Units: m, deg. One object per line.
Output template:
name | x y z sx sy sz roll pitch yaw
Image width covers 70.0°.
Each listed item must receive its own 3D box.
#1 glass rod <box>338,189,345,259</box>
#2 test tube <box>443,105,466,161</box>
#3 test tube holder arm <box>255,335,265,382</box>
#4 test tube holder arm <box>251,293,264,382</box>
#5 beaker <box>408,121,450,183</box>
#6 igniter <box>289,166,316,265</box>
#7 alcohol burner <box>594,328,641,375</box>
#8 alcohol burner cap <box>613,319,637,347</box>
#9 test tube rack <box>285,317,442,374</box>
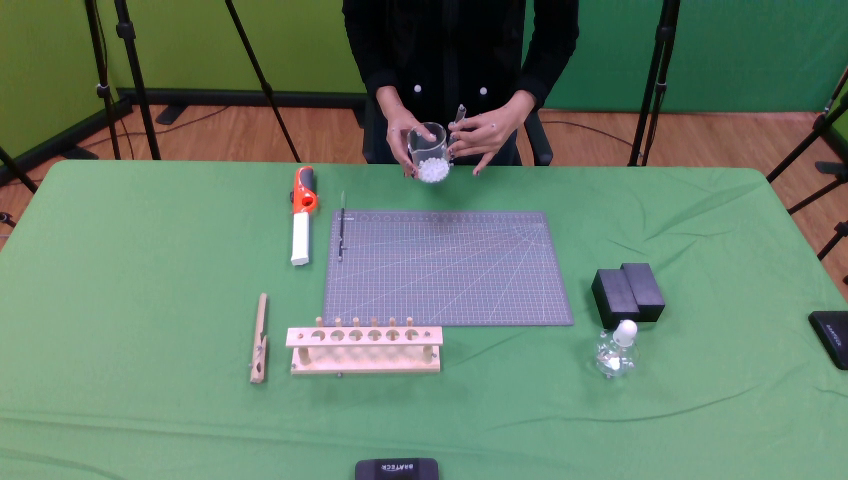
glass rod | -0.166 -0.037 1.227 0.008 0.008 0.198 -1 46 -4
test tube | 0.058 -0.203 1.173 0.017 0.151 0.017 5 58 -8
test tube holder arm | -0.270 0.193 0.997 0.010 0.015 0.087 24 36 -32
test tube holder arm | -0.281 0.160 1.025 0.013 0.015 0.177 23 36 -32
beaker | 0.009 -0.163 1.159 0.073 0.101 0.084 32 65 28
igniter | -0.248 -0.058 1.233 0.057 0.025 0.274 -9 47 1
alcohol burner | 0.322 0.170 0.994 0.078 0.119 0.077 3 48 -3
alcohol burner cap | 0.323 0.146 0.966 0.034 0.048 0.033 -1 52 2
test tube rack | -0.095 0.166 0.988 0.242 0.085 0.066 0 46 -4
